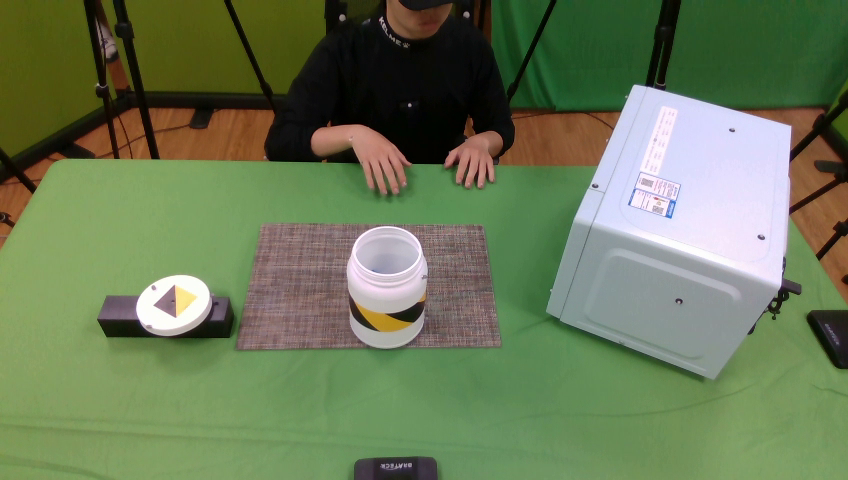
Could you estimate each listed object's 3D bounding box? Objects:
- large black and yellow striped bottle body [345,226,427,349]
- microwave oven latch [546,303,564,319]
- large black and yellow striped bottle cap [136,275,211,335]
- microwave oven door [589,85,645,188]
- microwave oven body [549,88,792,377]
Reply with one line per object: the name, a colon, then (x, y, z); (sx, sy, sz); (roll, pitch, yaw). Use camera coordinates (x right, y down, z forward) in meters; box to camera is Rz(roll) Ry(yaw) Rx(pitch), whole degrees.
large black and yellow striped bottle body: (-0.062, 0.078, 0.998); (0.131, 0.185, 0.130); (2, 46, -2)
microwave oven latch: (0.242, 0.102, 1.081); (0.030, 0.029, 0.079); (21, 48, 17)
large black and yellow striped bottle cap: (-0.412, 0.105, 0.999); (0.115, 0.019, 0.114); (3, 46, -3)
microwave oven door: (0.342, -0.107, 1.149); (0.039, 0.245, 0.354); (20, 48, 15)
microwave oven body: (0.456, -0.028, 1.088); (0.325, 0.261, 0.440); (20, 47, 16)
